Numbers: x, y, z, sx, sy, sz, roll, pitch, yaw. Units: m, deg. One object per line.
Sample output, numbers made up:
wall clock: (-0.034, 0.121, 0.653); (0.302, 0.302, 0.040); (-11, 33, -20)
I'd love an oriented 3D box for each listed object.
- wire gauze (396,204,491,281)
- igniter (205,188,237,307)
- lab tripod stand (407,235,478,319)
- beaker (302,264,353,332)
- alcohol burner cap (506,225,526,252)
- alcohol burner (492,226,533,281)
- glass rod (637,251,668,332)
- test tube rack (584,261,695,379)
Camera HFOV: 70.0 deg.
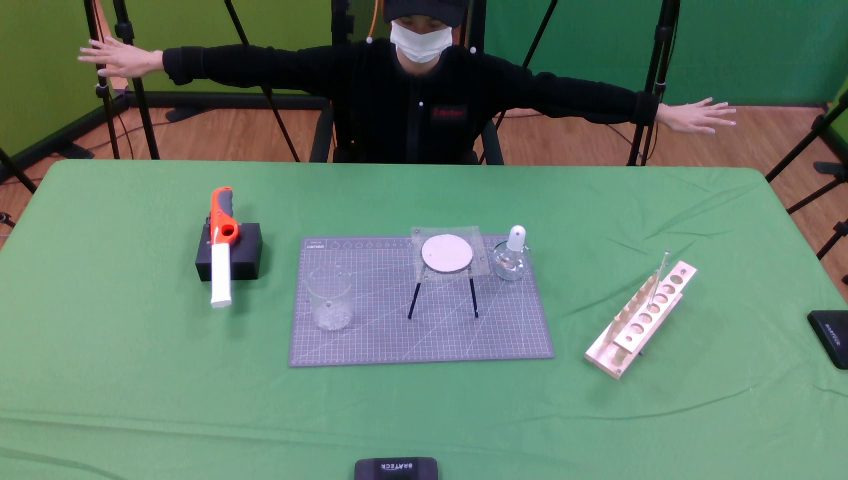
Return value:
wire gauze: (0.032, 0.004, 0.999); (0.125, 0.011, 0.120); (-22, 54, -14)
igniter: (-0.367, 0.004, 1.097); (0.057, 0.025, 0.274); (-7, 50, -11)
lab tripod stand: (0.032, 0.065, 1.057); (0.148, 0.132, 0.147); (1, 45, -1)
beaker: (-0.162, 0.101, 1.030); (0.084, 0.101, 0.073); (4, 46, 0)
alcohol burner cap: (0.169, -0.005, 1.099); (0.034, 0.048, 0.033); (3, 42, -3)
alcohol burner: (0.166, 0.020, 1.125); (0.078, 0.120, 0.077); (1, 46, -1)
glass rod: (0.378, 0.090, 1.005); (0.008, 0.201, 0.008); (-1, 44, 1)
test tube rack: (0.380, 0.127, 1.062); (0.066, 0.085, 0.242); (34, 53, 26)
